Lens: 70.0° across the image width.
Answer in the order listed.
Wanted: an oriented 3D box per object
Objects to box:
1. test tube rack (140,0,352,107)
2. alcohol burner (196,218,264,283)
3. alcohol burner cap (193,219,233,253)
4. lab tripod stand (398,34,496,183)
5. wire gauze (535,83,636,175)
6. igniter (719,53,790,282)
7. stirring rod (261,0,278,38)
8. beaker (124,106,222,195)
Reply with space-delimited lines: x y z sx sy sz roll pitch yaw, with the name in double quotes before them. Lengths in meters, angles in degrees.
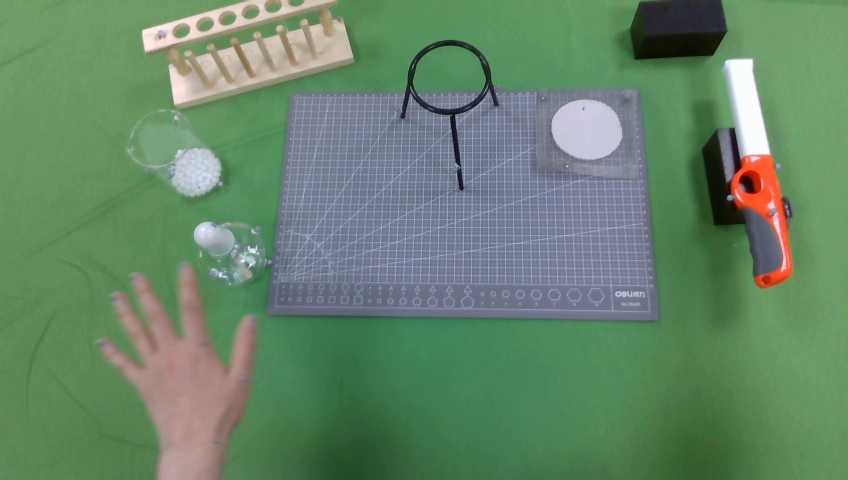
"test tube rack" -0.224 -0.252 0.779 0.242 0.086 0.066 -16 72 -1
"alcohol burner" -0.225 0.006 0.683 0.078 0.120 0.077 -1 70 3
"alcohol burner cap" -0.229 -0.006 0.649 0.034 0.048 0.033 -1 75 3
"lab tripod stand" 0.031 -0.157 0.702 0.148 0.132 0.147 -1 73 2
"wire gauze" 0.200 -0.142 0.751 0.125 0.011 0.121 5 72 3
"igniter" 0.360 -0.087 0.666 0.057 0.025 0.274 -1 70 7
"stirring rod" -0.193 -0.308 0.712 0.014 0.177 0.006 7 60 6
"beaker" -0.297 -0.102 0.729 0.084 0.101 0.073 -13 71 1
